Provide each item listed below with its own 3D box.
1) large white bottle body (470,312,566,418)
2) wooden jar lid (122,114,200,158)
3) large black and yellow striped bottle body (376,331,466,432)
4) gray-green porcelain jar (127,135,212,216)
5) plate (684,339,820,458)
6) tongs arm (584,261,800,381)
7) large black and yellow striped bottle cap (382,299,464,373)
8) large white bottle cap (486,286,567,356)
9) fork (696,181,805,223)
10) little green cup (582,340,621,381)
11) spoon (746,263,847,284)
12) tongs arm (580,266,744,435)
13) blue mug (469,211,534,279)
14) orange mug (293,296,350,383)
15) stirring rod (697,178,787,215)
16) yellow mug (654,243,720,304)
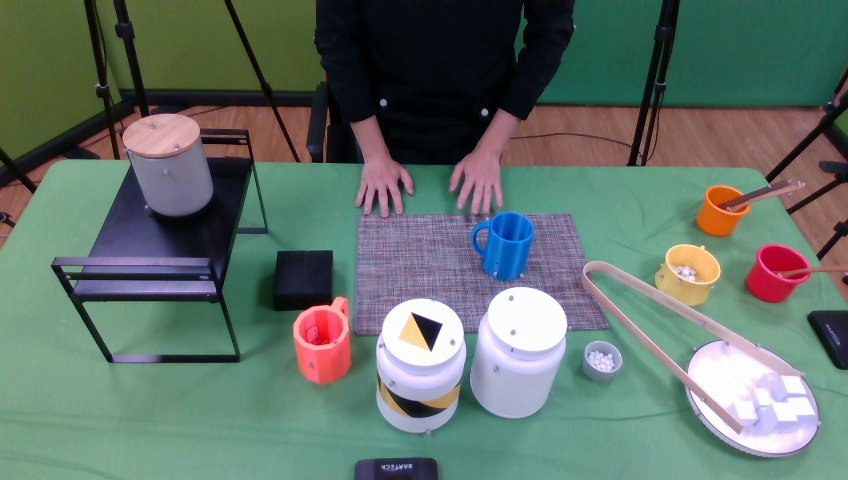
[{"bbox_3d":[0.143,0.173,0.930,0.131,0.185,0.130,2,46,-2],"label":"large white bottle body"},{"bbox_3d":[-0.390,-0.152,0.904,0.108,0.021,0.107,3,45,-3],"label":"wooden jar lid"},{"bbox_3d":[-0.007,0.189,0.905,0.131,0.185,0.130,2,46,-2],"label":"large black and yellow striped bottle body"},{"bbox_3d":[-0.394,-0.109,0.949,0.106,0.127,0.105,3,46,-3],"label":"gray-green porcelain jar"},{"bbox_3d":[0.523,0.256,0.982,0.208,0.039,0.206,2,46,-2],"label":"plate"},{"bbox_3d":[0.452,0.137,1.064,0.051,0.027,0.382,-34,50,-27],"label":"tongs arm"},{"bbox_3d":[-0.002,0.132,0.843,0.115,0.019,0.114,2,46,-1],"label":"large black and yellow striped bottle cap"},{"bbox_3d":[0.147,0.114,0.869,0.115,0.018,0.114,3,46,-3],"label":"large white bottle cap"},{"bbox_3d":[0.659,-0.077,1.232,0.207,0.019,0.028,-26,35,34],"label":"fork"},{"bbox_3d":[0.295,0.204,1.015,0.061,0.039,0.061,2,45,-2],"label":"little green cup"},{"bbox_3d":[0.696,0.057,1.113,0.193,0.022,0.041,-16,28,48],"label":"spoon"},{"bbox_3d":[0.384,0.173,1.028,0.028,0.028,0.385,-25,46,-15],"label":"tongs arm"},{"bbox_3d":[0.141,0.005,1.140,0.116,0.106,0.082,18,48,13],"label":"blue mug"},{"bbox_3d":[-0.157,0.154,0.985,0.083,0.101,0.125,17,52,11],"label":"orange mug"},{"bbox_3d":[0.650,-0.088,1.246,0.006,0.176,0.014,29,49,-38],"label":"stirring rod"},{"bbox_3d":[0.504,0.054,1.154,0.099,0.064,0.130,28,50,22],"label":"yellow mug"}]
